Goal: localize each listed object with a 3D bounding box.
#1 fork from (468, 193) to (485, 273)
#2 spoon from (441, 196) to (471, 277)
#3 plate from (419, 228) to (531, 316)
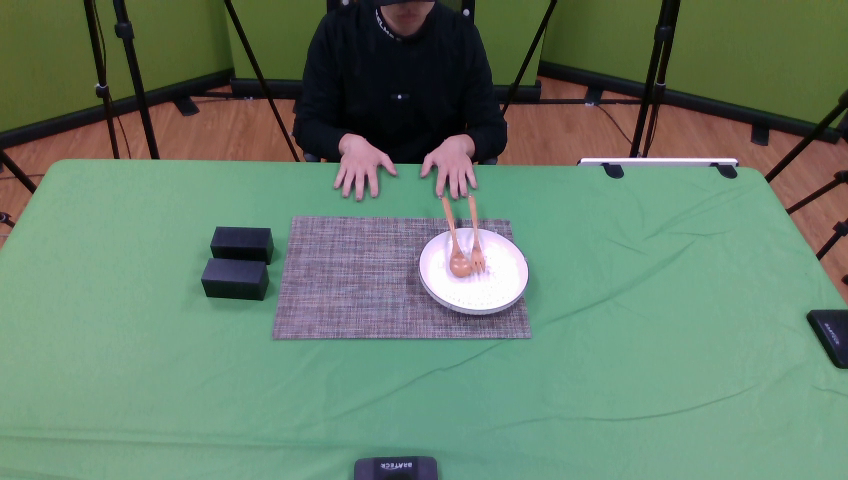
[{"bbox_3d":[0.099,-0.017,1.188,0.028,0.019,0.206,-2,54,-1],"label":"fork"},{"bbox_3d":[0.056,-0.010,1.176,0.041,0.022,0.192,-6,60,-7],"label":"spoon"},{"bbox_3d":[0.093,0.062,1.131,0.208,0.039,0.206,2,46,-2],"label":"plate"}]
